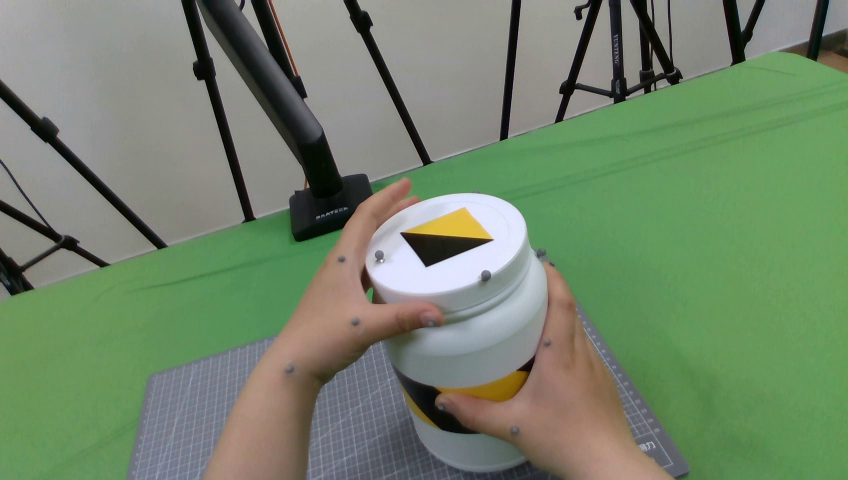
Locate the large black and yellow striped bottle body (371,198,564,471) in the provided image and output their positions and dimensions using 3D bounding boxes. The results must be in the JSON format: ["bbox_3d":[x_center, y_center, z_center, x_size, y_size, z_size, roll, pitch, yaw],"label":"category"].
[{"bbox_3d":[0.035,0.072,0.467,0.130,0.186,0.129,-11,35,8],"label":"large black and yellow striped bottle body"}]

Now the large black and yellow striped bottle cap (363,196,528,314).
[{"bbox_3d":[0.014,0.006,0.419,0.115,0.019,0.114,-10,34,7],"label":"large black and yellow striped bottle cap"}]
